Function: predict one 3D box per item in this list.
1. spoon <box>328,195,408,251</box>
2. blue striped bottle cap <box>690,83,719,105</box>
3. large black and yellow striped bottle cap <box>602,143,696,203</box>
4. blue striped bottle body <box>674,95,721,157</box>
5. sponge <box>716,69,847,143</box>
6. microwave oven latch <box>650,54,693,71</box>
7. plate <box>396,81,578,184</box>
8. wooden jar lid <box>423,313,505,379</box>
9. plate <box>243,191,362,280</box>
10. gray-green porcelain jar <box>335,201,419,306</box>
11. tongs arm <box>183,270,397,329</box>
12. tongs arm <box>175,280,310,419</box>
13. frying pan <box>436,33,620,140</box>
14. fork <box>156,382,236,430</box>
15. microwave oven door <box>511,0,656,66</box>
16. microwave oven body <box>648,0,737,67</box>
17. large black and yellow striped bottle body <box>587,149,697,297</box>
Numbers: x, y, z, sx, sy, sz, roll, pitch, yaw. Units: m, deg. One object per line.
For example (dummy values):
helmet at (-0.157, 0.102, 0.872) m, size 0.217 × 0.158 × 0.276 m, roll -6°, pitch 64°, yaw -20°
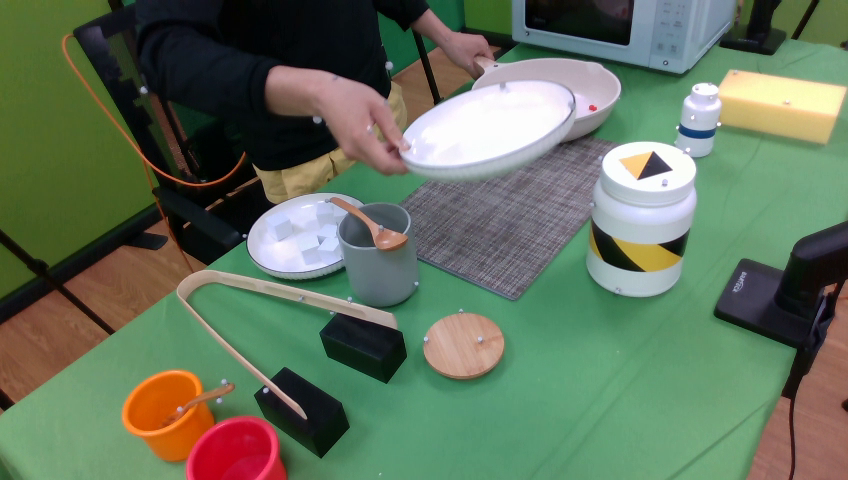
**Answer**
spoon at (-0.083, -0.029, 0.829) m, size 0.042 × 0.022 × 0.192 m, roll -31°, pitch 42°, yaw -21°
blue striped bottle cap at (0.482, -0.251, 1.038) m, size 0.044 × 0.021 × 0.044 m, roll -5°, pitch 40°, yaw 5°
large black and yellow striped bottle cap at (0.289, -0.089, 0.779) m, size 0.115 × 0.019 × 0.114 m, roll -4°, pitch 40°, yaw 4°
blue striped bottle body at (0.486, -0.213, 1.072) m, size 0.063 × 0.121 × 0.063 m, roll -4°, pitch 41°, yaw 4°
sponge at (0.663, -0.256, 1.142) m, size 0.205 × 0.061 × 0.118 m, roll 19°, pitch 47°, yaw 28°
microwave oven latch at (0.531, -0.386, 1.301) m, size 0.078 × 0.029 × 0.030 m, roll 26°, pitch 51°, yaw 33°
plate at (0.072, -0.119, 0.688) m, size 0.209 × 0.038 × 0.208 m, roll -14°, pitch 33°, yaw 10°
wooden jar lid at (0.053, 0.142, 0.800) m, size 0.108 × 0.021 × 0.108 m, roll -4°, pitch 39°, yaw 4°
plate at (-0.188, -0.005, 0.992) m, size 0.207 × 0.039 × 0.206 m, roll -4°, pitch 40°, yaw 4°
gray-green porcelain jar at (-0.064, 0.024, 0.872) m, size 0.106 × 0.127 × 0.105 m, roll -4°, pitch 41°, yaw 4°
tongs arm at (-0.203, 0.086, 0.847) m, size 0.382 × 0.027 × 0.051 m, roll 11°, pitch 45°, yaw 34°
tongs arm at (-0.254, 0.134, 0.800) m, size 0.028 × 0.028 × 0.384 m, roll -42°, pitch 41°, yaw -23°
frying pan at (0.181, -0.343, 1.279) m, size 0.308 × 0.103 × 0.483 m, roll -26°, pitch 51°, yaw -24°
fork at (-0.262, 0.189, 0.690) m, size 0.018 × 0.206 × 0.028 m, roll 49°, pitch 43°, yaw -7°
microwave oven door at (0.350, -0.539, 1.349) m, size 0.353 × 0.245 × 0.039 m, roll 24°, pitch 50°, yaw 31°
microwave oven body at (0.475, -0.602, 1.411) m, size 0.438 × 0.261 × 0.327 m, roll 23°, pitch 50°, yaw 32°
large black and yellow striped bottle body at (0.298, -0.026, 0.835) m, size 0.131 × 0.185 × 0.130 m, roll -4°, pitch 41°, yaw 4°
